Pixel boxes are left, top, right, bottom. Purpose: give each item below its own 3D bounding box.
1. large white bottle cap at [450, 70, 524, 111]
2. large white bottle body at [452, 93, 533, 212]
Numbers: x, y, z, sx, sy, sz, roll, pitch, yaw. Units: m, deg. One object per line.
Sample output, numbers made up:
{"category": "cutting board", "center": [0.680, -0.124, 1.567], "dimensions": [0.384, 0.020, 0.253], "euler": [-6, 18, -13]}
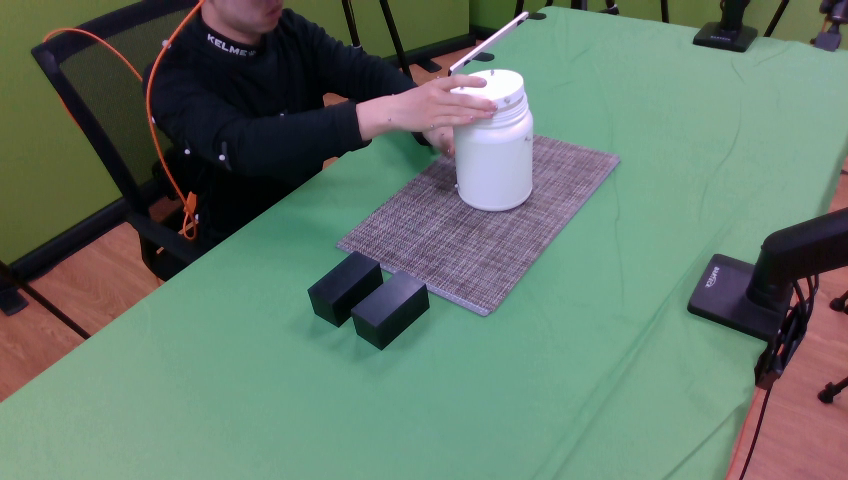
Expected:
{"category": "large white bottle cap", "center": [0.098, -0.233, 0.937], "dimensions": [0.115, 0.018, 0.114], "euler": [-7, 37, 6]}
{"category": "large white bottle body", "center": [0.115, -0.154, 1.001], "dimensions": [0.130, 0.185, 0.130], "euler": [-5, 41, 4]}
